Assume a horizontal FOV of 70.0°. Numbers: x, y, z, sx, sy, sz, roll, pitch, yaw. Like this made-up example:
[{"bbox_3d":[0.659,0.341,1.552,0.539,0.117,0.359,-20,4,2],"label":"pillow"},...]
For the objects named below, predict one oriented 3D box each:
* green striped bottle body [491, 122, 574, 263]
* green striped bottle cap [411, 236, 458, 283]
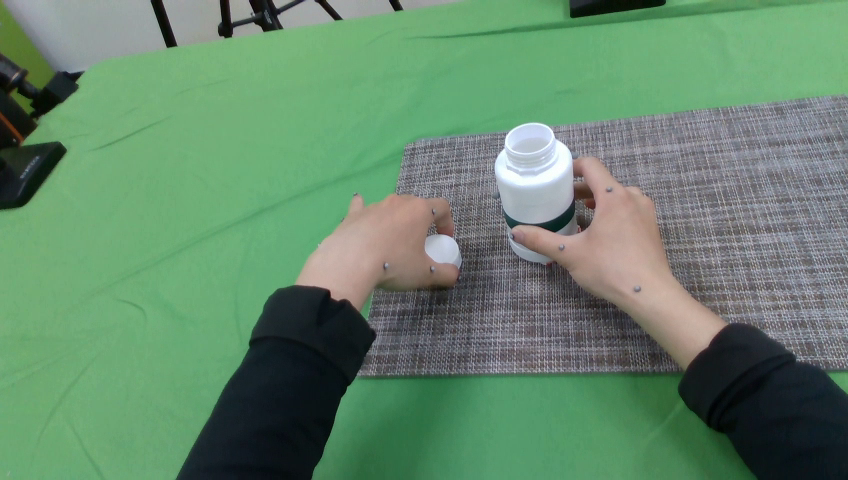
[{"bbox_3d":[0.093,-0.041,0.513,0.063,0.120,0.062,-9,46,9],"label":"green striped bottle body"},{"bbox_3d":[0.010,0.017,0.561,0.044,0.020,0.044,-2,49,2],"label":"green striped bottle cap"}]
